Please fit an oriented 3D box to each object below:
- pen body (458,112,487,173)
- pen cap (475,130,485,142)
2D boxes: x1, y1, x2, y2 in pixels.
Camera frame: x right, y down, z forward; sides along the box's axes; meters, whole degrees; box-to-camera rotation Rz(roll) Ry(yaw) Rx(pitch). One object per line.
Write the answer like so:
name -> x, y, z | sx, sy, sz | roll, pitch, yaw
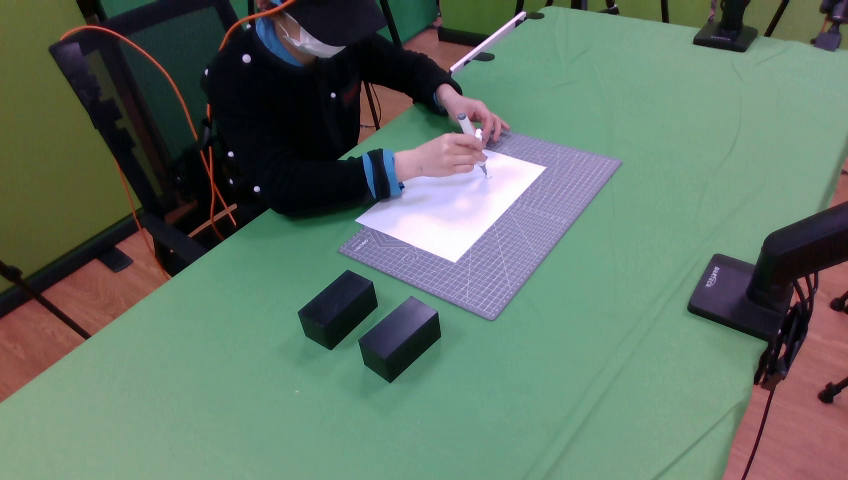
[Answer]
pen body -> 0.087, -0.165, 1.052 | 0.017, 0.145, 0.017 | -14, 48, 17
pen cap -> 0.104, -0.196, 1.142 | 0.017, 0.017, 0.038 | 5, 26, 14
